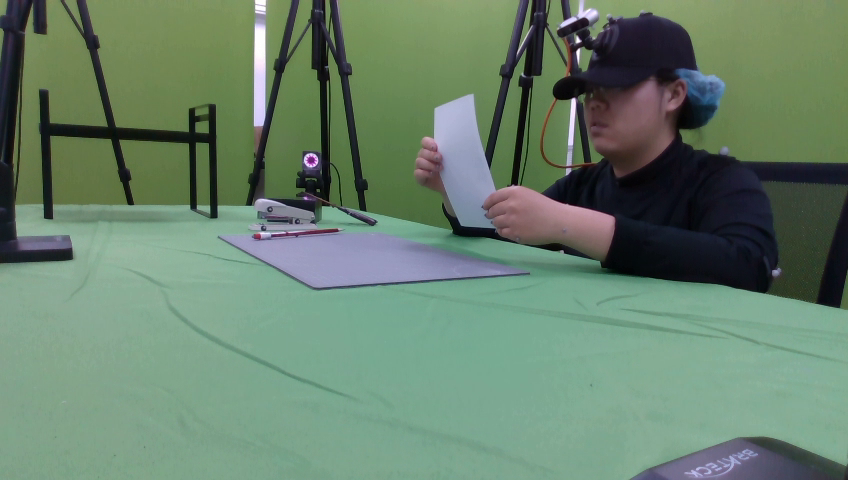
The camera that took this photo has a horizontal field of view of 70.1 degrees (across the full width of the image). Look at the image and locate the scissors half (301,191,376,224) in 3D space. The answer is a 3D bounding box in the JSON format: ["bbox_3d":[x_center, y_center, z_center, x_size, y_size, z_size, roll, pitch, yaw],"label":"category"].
[{"bbox_3d":[-0.189,-0.073,1.333,0.175,0.013,0.040,22,11,-10],"label":"scissors half"}]

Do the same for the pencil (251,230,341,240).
[{"bbox_3d":[-0.215,-0.011,1.049,0.012,0.012,0.195,9,9,39],"label":"pencil"}]

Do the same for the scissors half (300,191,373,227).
[{"bbox_3d":[-0.191,-0.069,1.314,0.175,0.013,0.040,26,16,7],"label":"scissors half"}]

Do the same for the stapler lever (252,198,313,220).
[{"bbox_3d":[-0.273,-0.058,1.170,0.119,0.040,0.026,0,10,-37],"label":"stapler lever"}]

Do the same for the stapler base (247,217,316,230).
[{"bbox_3d":[-0.276,-0.033,1.172,0.131,0.024,0.041,0,10,-37],"label":"stapler base"}]
